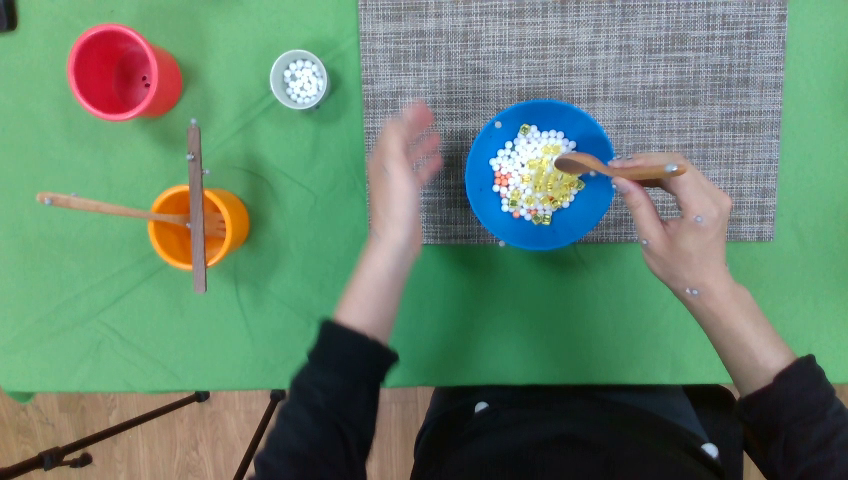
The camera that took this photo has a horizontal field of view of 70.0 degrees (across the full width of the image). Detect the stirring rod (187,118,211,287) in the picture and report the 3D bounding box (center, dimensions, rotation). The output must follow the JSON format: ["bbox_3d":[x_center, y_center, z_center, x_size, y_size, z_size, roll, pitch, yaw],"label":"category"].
[{"bbox_3d":[-0.235,-0.037,0.632,0.014,0.006,0.176,1,100,5],"label":"stirring rod"}]

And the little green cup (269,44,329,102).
[{"bbox_3d":[-0.133,-0.179,0.659,0.061,0.038,0.062,1,100,5],"label":"little green cup"}]

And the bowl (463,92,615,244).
[{"bbox_3d":[0.116,-0.075,0.635,0.151,0.076,0.151,1,99,4],"label":"bowl"}]

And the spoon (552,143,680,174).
[{"bbox_3d":[0.162,-0.068,0.524,0.042,0.192,0.021,17,99,-15],"label":"spoon"}]

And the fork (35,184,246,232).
[{"bbox_3d":[-0.289,-0.033,0.639,0.209,0.018,0.028,10,106,-41],"label":"fork"}]
